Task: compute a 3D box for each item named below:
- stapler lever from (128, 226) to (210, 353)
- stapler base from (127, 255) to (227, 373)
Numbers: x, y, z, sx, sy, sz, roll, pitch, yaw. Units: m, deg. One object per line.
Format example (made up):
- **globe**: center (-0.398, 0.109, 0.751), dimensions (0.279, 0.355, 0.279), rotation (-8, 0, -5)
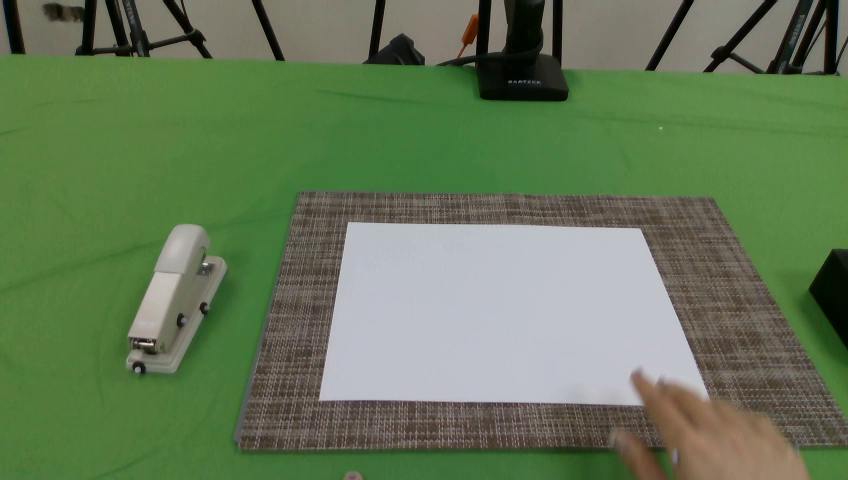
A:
- **stapler lever**: center (-0.207, 0.036, 0.495), dimensions (0.027, 0.040, 0.117), rotation (3, 43, 4)
- **stapler base**: center (-0.207, 0.053, 0.514), dimensions (0.041, 0.024, 0.129), rotation (3, 43, 4)
